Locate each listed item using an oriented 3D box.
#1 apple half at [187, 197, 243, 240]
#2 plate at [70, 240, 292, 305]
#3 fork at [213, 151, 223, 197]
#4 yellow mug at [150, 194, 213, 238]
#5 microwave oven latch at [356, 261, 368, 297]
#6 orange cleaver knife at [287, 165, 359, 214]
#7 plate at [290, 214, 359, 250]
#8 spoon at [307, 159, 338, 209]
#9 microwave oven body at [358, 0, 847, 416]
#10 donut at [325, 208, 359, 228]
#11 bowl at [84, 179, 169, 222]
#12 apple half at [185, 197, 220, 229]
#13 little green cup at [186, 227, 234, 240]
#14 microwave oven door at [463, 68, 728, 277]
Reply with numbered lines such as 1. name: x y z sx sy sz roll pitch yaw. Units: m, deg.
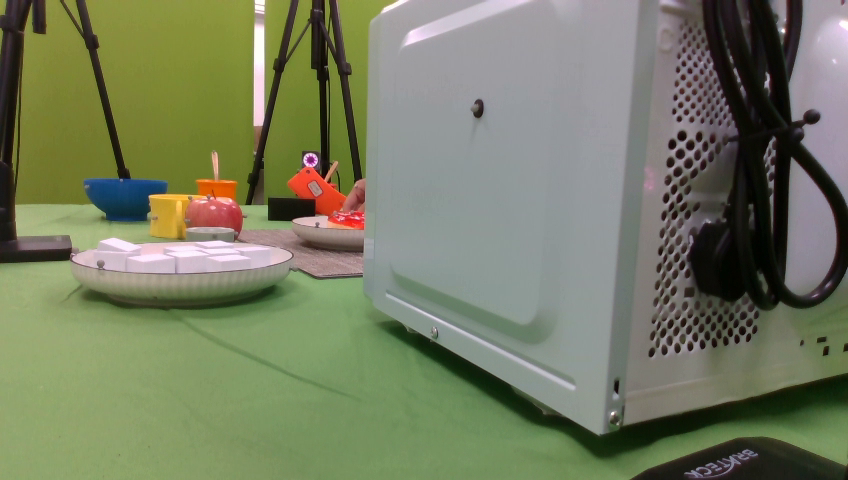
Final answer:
1. apple half: -0.305 -0.026 0.907 0.053 0.074 0.081 12 8 31
2. plate: -0.242 0.031 0.618 0.208 0.039 0.207 2 8 0
3. fork: -0.493 -0.143 1.442 0.028 0.018 0.206 -3 52 -19
4. yellow mug: -0.401 -0.040 1.003 0.100 0.064 0.130 -1 9 -20
5. microwave oven latch: -0.020 0.033 0.531 0.079 0.029 0.030 -1 7 -27
6. orange cleaver knife: -0.211 -0.093 1.382 0.212 0.077 0.012 33 1 -15
7. plate: -0.110 -0.014 0.974 0.209 0.038 0.209 3 8 0
8. spoon: -0.257 -0.147 1.567 0.041 0.022 0.193 2 50 19
9. microwave oven body: 0.210 -0.047 0.475 0.444 0.260 0.324 -1 7 -28
10. donut: -0.110 -0.025 0.974 0.099 0.048 0.099 4 7 0
11. bowl: -0.584 -0.078 1.194 0.151 0.077 0.151 3 8 0
12. apple half: -0.338 -0.031 0.927 0.032 0.081 0.081 12 12 31
13. little green cup: -0.284 0.005 0.805 0.061 0.038 0.061 2 8 0
14. microwave oven door: 0.205 -0.096 0.812 0.354 0.243 0.039 9 10 41
